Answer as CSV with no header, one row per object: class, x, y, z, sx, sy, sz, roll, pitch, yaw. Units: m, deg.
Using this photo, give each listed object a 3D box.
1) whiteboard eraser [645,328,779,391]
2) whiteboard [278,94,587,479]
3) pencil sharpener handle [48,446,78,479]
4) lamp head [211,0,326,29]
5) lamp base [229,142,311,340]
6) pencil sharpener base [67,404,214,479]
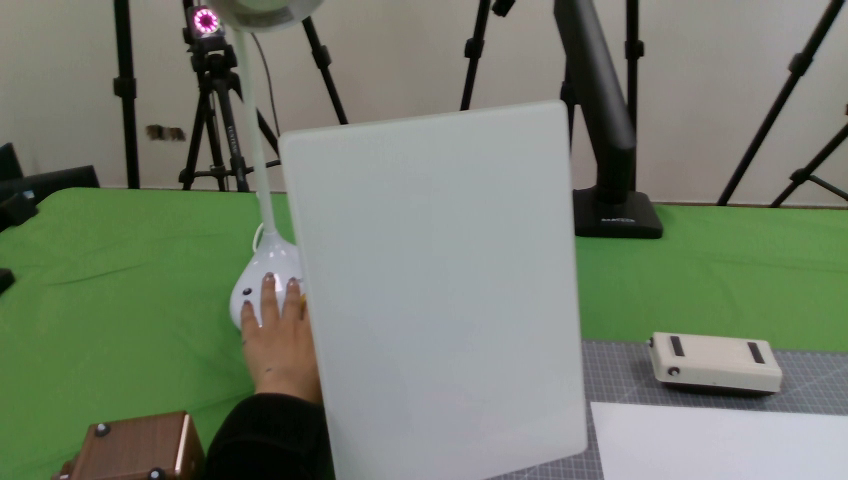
whiteboard eraser,0.279,0.118,0.593,0.112,0.042,0.055,4,34,7
whiteboard,0.005,0.041,0.530,0.218,0.306,0.143,-10,14,-13
pencil sharpener handle,-0.252,0.178,0.423,0.031,0.068,0.035,-7,20,-8
lamp head,-0.137,-0.246,0.479,0.113,0.113,0.122,-19,62,-27
lamp base,-0.154,-0.009,0.673,0.161,0.181,0.177,-27,39,-35
pencil sharpener base,-0.202,0.181,0.441,0.077,0.108,0.060,-7,34,-8
